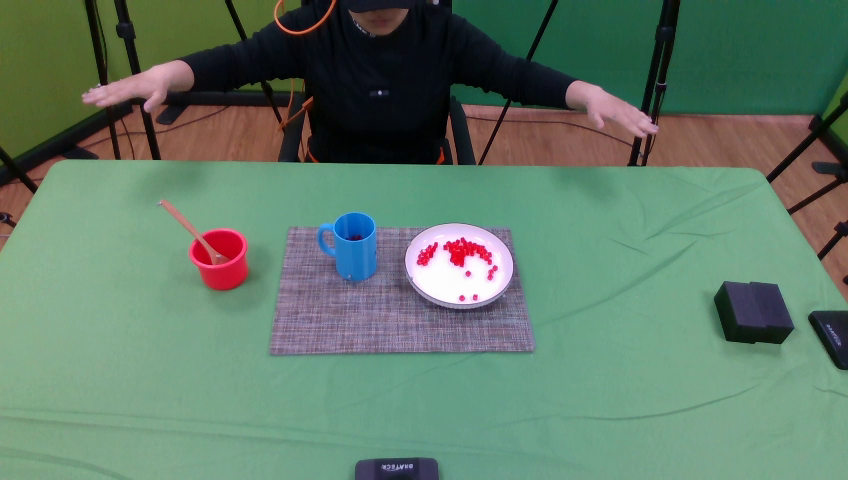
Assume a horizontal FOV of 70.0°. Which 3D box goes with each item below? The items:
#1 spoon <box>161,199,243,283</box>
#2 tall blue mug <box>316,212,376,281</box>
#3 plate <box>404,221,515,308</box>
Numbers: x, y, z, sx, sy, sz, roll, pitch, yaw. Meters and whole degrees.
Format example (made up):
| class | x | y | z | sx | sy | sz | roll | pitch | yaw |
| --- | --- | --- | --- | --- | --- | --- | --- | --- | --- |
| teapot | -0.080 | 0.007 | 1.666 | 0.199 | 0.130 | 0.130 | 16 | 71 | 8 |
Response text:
| class | x | y | z | sx | sy | sz | roll | pitch | yaw |
| --- | --- | --- | --- | --- | --- | --- | --- | --- | --- |
| spoon | -0.397 | 0.001 | 1.083 | 0.194 | 0.021 | 0.041 | 53 | 56 | -15 |
| tall blue mug | -0.142 | 0.014 | 1.109 | 0.107 | 0.108 | 0.077 | -5 | 47 | -8 |
| plate | 0.065 | 0.049 | 1.140 | 0.208 | 0.039 | 0.206 | 2 | 46 | -2 |
